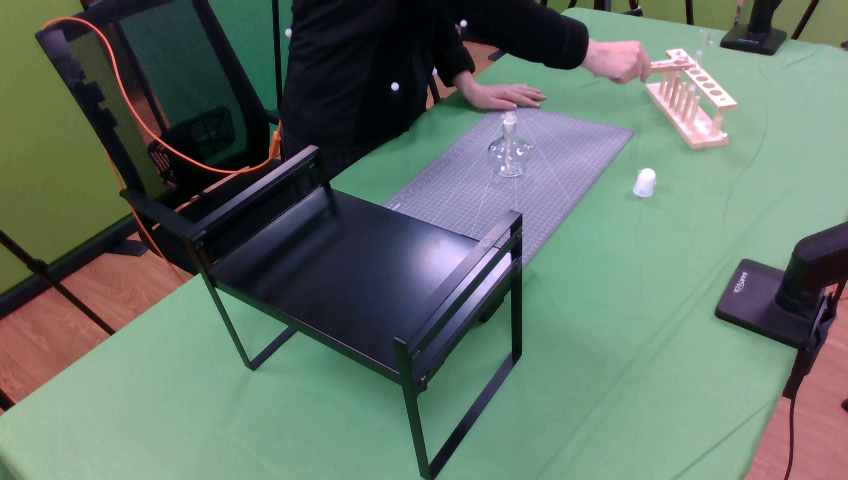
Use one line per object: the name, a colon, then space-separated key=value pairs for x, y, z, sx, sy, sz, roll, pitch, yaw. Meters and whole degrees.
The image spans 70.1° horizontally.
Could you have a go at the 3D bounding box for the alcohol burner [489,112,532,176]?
alcohol burner: x=0.155 y=-0.176 z=1.084 sx=0.078 sy=0.119 sz=0.077 roll=-3 pitch=41 yaw=3

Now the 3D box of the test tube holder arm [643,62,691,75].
test tube holder arm: x=0.444 y=-0.313 z=1.105 sx=0.088 sy=0.015 sz=0.010 roll=-7 pitch=64 yaw=-4

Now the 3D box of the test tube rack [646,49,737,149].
test tube rack: x=0.511 y=-0.280 z=1.175 sx=0.067 sy=0.085 sz=0.241 roll=-8 pitch=41 yaw=0

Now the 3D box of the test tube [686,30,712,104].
test tube: x=0.521 y=-0.325 z=1.150 sx=0.017 sy=0.151 sz=0.017 roll=-3 pitch=45 yaw=4

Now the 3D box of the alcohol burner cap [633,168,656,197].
alcohol burner cap: x=0.374 y=-0.099 z=1.018 sx=0.034 sy=0.048 sz=0.033 roll=-1 pitch=41 yaw=1

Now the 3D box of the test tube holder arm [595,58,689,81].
test tube holder arm: x=0.398 y=-0.311 z=1.104 sx=0.179 sy=0.015 sz=0.013 roll=-10 pitch=64 yaw=-5
